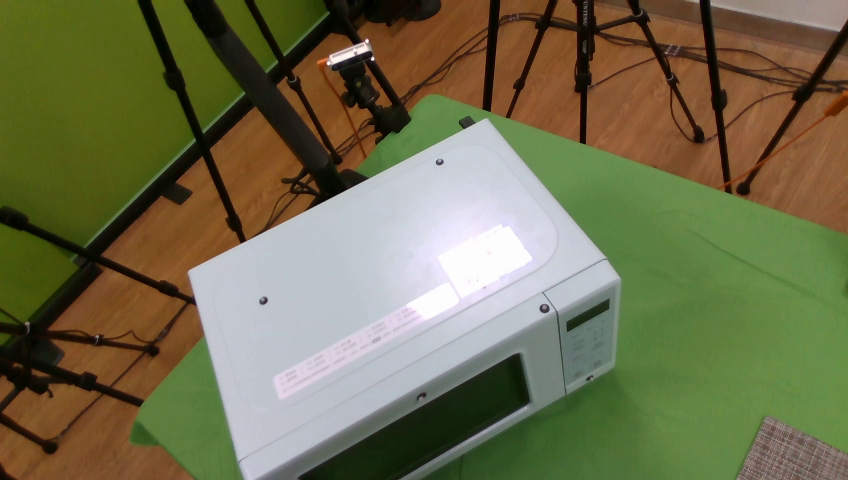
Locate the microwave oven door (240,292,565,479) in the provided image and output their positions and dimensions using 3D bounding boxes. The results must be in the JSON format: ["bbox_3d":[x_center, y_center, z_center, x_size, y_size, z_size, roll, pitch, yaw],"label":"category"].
[{"bbox_3d":[-0.001,0.206,0.711,0.356,0.246,0.039,-28,53,-5],"label":"microwave oven door"}]

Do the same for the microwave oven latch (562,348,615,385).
[{"bbox_3d":[0.217,0.161,0.811,0.079,0.030,0.030,-27,54,-3],"label":"microwave oven latch"}]

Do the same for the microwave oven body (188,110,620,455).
[{"bbox_3d":[-0.023,0.089,0.804,0.442,0.263,0.322,-28,54,-4],"label":"microwave oven body"}]
